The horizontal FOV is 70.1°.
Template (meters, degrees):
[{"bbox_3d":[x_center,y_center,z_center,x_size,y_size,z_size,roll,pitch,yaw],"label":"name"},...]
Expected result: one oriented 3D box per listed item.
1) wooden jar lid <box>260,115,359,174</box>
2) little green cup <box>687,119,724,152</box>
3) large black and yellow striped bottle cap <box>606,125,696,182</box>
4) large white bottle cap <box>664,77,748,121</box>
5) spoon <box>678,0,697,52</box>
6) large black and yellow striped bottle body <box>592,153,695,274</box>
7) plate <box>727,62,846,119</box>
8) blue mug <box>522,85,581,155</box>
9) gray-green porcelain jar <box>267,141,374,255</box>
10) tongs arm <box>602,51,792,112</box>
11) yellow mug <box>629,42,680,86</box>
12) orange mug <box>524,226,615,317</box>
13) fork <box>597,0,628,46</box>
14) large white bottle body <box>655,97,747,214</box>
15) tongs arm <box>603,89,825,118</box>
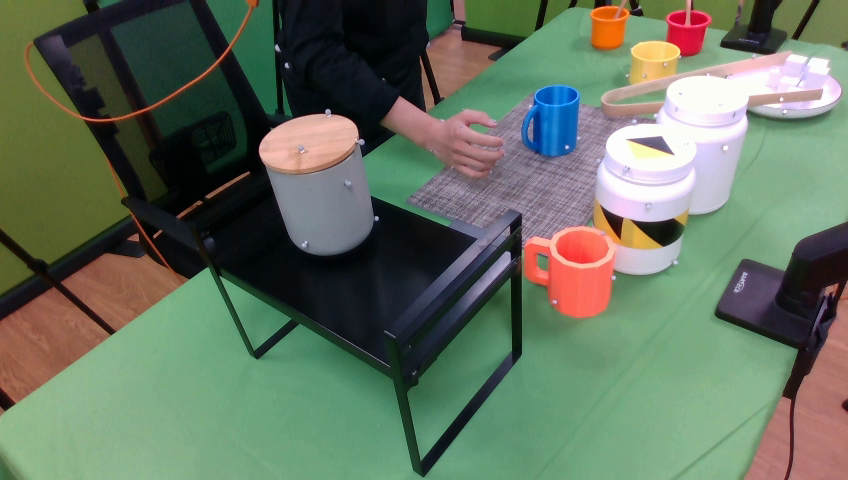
[{"bbox_3d":[-0.124,-0.101,0.662,0.108,0.021,0.108,-4,41,4],"label":"wooden jar lid"},{"bbox_3d":[0.514,-0.191,1.109,0.061,0.039,0.061,-5,40,5],"label":"little green cup"},{"bbox_3d":[0.305,-0.119,0.816,0.115,0.019,0.114,-5,41,5],"label":"large black and yellow striped bottle cap"},{"bbox_3d":[0.421,-0.212,0.905,0.115,0.018,0.114,-4,40,4],"label":"large white bottle cap"},{"bbox_3d":[0.614,-0.526,1.402,0.041,0.022,0.193,3,86,11],"label":"spoon"},{"bbox_3d":[0.313,-0.056,0.872,0.131,0.185,0.130,-4,41,4],"label":"large black and yellow striped bottle body"},{"bbox_3d":[0.709,-0.292,1.197,0.207,0.039,0.206,-4,40,4],"label":"plate"},{"bbox_3d":[0.233,-0.218,1.127,0.117,0.106,0.081,-23,43,-16],"label":"blue mug"},{"bbox_3d":[-0.117,-0.054,0.703,0.106,0.127,0.105,-4,40,4],"label":"gray-green porcelain jar"},{"bbox_3d":[0.552,-0.320,1.224,0.384,0.027,0.050,-10,43,7],"label":"tongs arm"},{"bbox_3d":[0.495,-0.388,1.321,0.100,0.064,0.130,-14,39,-6],"label":"yellow mug"},{"bbox_3d":[0.201,0.039,0.845,0.125,0.101,0.083,18,46,21],"label":"orange mug"},{"bbox_3d":[0.478,-0.559,1.455,0.028,0.019,0.207,34,100,37],"label":"fork"},{"bbox_3d":[0.431,-0.148,0.959,0.130,0.185,0.130,-4,41,4],"label":"large white bottle body"},{"bbox_3d":[0.546,-0.262,1.163,0.386,0.028,0.028,-1,49,18],"label":"tongs arm"}]
